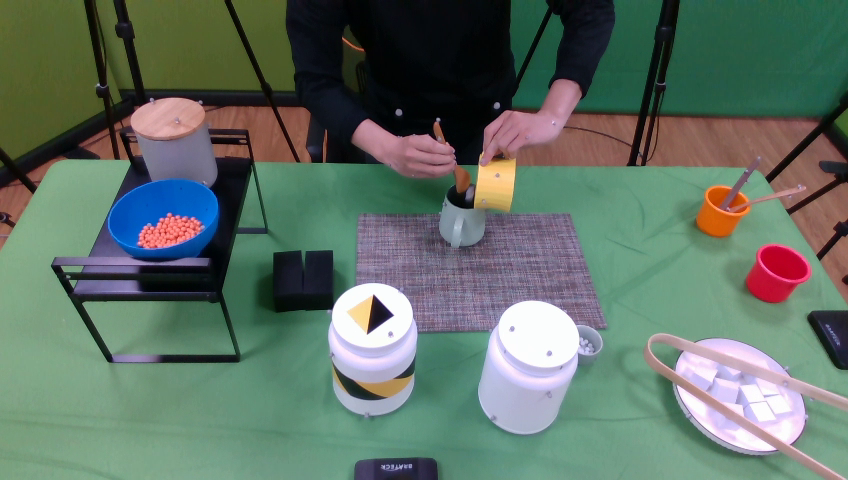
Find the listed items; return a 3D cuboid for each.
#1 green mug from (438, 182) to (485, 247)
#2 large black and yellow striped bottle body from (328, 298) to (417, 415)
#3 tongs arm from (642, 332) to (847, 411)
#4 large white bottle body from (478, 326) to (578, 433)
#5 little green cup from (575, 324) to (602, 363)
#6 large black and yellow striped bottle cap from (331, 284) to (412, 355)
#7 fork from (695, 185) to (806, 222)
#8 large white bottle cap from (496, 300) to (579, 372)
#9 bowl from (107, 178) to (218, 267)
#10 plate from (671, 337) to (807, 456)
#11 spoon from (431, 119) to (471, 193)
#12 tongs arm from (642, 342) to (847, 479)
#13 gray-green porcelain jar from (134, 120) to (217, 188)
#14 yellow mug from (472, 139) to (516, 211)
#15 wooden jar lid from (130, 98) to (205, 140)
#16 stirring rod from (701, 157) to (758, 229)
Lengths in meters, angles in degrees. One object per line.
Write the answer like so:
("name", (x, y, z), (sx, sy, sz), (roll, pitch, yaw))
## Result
("green mug", (0.071, -0.039, 1.178), (0.092, 0.105, 0.124), (12, 47, 7))
("large black and yellow striped bottle body", (-0.078, 0.167, 0.920), (0.131, 0.185, 0.130), (2, 46, -2))
("tongs arm", (0.546, 0.227, 0.968), (0.384, 0.026, 0.050), (22, 52, 13))
("large white bottle body", (0.156, 0.192, 0.913), (0.131, 0.185, 0.130), (2, 46, -2))
("little green cup", (0.269, 0.179, 1.036), (0.061, 0.039, 0.061), (3, 46, -2))
("large black and yellow striped bottle cap", (-0.073, 0.110, 0.858), (0.115, 0.019, 0.114), (2, 46, -2))
("fork", (0.658, -0.074, 1.229), (0.207, 0.019, 0.028), (-23, 35, 37))
("large white bottle cap", (0.160, 0.133, 0.852), (0.115, 0.018, 0.114), (3, 46, -3))
("bowl", (-0.374, -0.014, 0.893), (0.151, 0.077, 0.150), (2, 46, -2))
("plate", (0.504, 0.254, 0.984), (0.208, 0.039, 0.206), (2, 46, -2))
("spoon", (0.045, -0.142, 1.049), (0.021, 0.195, 0.041), (28, 74, 37))
("tongs arm", (0.504, 0.278, 0.918), (0.386, 0.028, 0.028), (33, 59, 22))
("gray-green porcelain jar", (-0.397, -0.141, 0.979), (0.106, 0.127, 0.105), (2, 47, -2))
("yellow mug", (0.127, -0.119, 1.088), (0.064, 0.131, 0.099), (7, 27, 2))
("wooden jar lid", (-0.393, -0.183, 0.934), (0.108, 0.021, 0.107), (2, 44, -2))
("stirring rod", (0.634, -0.096, 1.257), (0.014, 0.006, 0.176), (38, 97, 29))
